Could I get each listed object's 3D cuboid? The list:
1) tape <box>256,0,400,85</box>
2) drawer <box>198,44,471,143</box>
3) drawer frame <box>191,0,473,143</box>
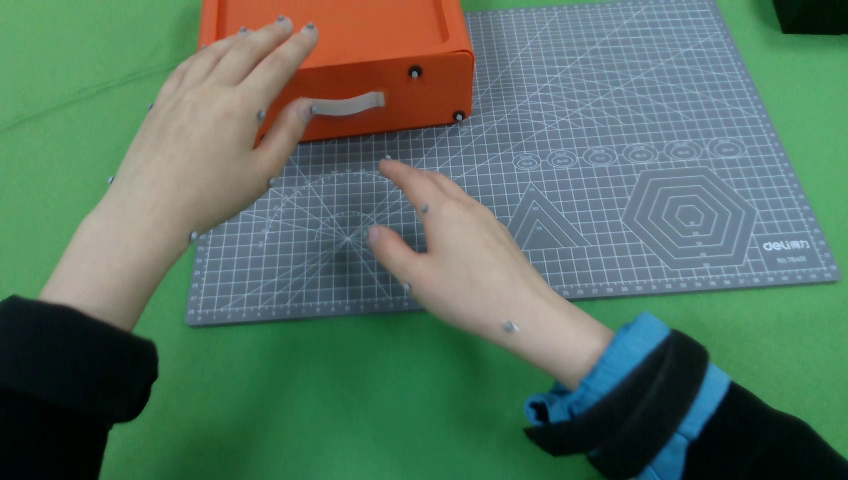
[{"bbox_3d":[-0.078,-0.190,0.511,0.117,0.053,0.116,-1,60,1],"label":"tape"},{"bbox_3d":[-0.075,-0.190,0.502,0.194,0.074,0.209,-8,59,-2],"label":"drawer"},{"bbox_3d":[-0.076,-0.193,0.504,0.202,0.083,0.211,-8,59,-3],"label":"drawer frame"}]
